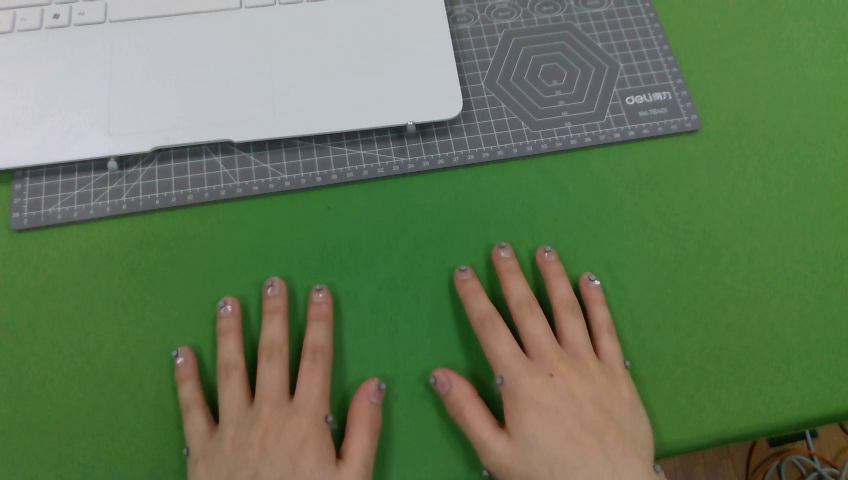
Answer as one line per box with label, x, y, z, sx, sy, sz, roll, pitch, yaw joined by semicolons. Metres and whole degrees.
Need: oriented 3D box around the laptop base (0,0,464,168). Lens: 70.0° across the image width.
laptop base;-0.162;-0.166;0.430;0.355;0.023;0.234;-7;72;-4
